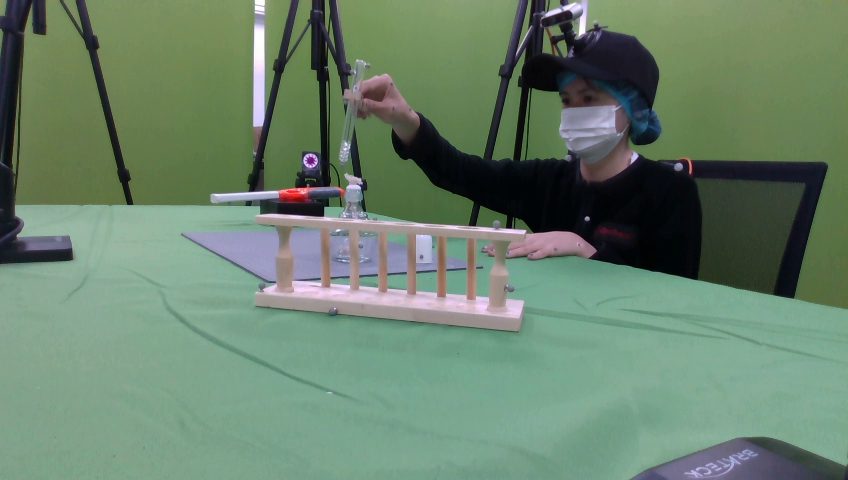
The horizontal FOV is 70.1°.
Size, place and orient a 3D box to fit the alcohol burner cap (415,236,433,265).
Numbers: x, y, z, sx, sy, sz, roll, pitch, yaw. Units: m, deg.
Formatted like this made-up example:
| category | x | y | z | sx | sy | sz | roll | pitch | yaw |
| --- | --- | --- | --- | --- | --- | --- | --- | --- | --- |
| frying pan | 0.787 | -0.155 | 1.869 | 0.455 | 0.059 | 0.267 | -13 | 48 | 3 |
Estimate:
| category | x | y | z | sx | sy | sz | roll | pitch | yaw |
| --- | --- | --- | --- | --- | --- | --- | --- | --- | --- |
| alcohol burner cap | -0.004 | 0.011 | 0.835 | 0.034 | 0.048 | 0.034 | 2 | 7 | 0 |

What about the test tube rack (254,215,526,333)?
| category | x | y | z | sx | sy | sz | roll | pitch | yaw |
| --- | --- | --- | --- | --- | --- | --- | --- | --- | --- |
| test tube rack | -0.030 | 0.025 | 0.557 | 0.242 | 0.085 | 0.067 | 4 | 7 | 12 |

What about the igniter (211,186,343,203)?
| category | x | y | z | sx | sy | sz | roll | pitch | yaw |
| --- | --- | --- | --- | --- | --- | --- | --- | --- | --- |
| igniter | -0.300 | -0.095 | 1.266 | 0.278 | 0.025 | 0.057 | -6 | 12 | -34 |

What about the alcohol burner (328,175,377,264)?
| category | x | y | z | sx | sy | sz | roll | pitch | yaw |
| --- | --- | --- | --- | --- | --- | --- | --- | --- | --- |
| alcohol burner | -0.098 | -0.028 | 0.819 | 0.078 | 0.119 | 0.078 | 1 | 8 | 0 |

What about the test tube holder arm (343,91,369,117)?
| category | x | y | z | sx | sy | sz | roll | pitch | yaw |
| --- | --- | --- | --- | --- | --- | --- | --- | --- | --- |
| test tube holder arm | -0.105 | -0.213 | 0.954 | 0.013 | 0.015 | 0.178 | 15 | 5 | 1 |

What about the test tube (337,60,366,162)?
| category | x | y | z | sx | sy | sz | roll | pitch | yaw |
| --- | --- | --- | --- | --- | --- | --- | --- | --- | --- |
| test tube | -0.107 | -0.188 | 0.887 | 0.017 | 0.150 | 0.017 | 11 | 1 | 0 |

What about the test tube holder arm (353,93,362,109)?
| category | x | y | z | sx | sy | sz | roll | pitch | yaw |
| --- | --- | --- | --- | --- | --- | --- | --- | --- | --- |
| test tube holder arm | -0.099 | -0.208 | 0.909 | 0.010 | 0.015 | 0.087 | 14 | 5 | -6 |
